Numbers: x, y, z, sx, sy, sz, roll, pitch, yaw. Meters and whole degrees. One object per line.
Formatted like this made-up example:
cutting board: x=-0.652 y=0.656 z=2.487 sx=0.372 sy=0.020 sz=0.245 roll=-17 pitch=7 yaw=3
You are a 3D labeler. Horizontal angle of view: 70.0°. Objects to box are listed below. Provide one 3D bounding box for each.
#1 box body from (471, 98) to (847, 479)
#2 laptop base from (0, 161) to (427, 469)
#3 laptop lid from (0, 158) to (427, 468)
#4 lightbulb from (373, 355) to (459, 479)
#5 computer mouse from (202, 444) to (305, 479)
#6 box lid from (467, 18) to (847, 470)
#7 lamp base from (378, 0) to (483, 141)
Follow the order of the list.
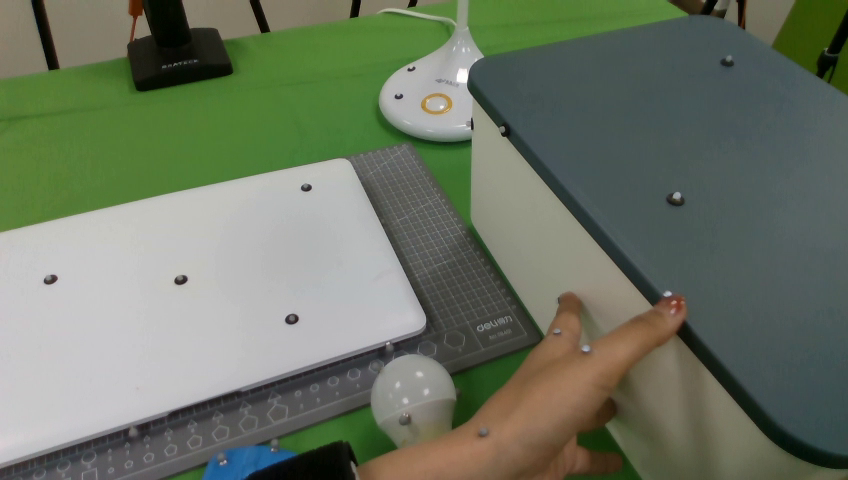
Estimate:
box body: x=0.214 y=0.006 z=0.466 sx=0.255 sy=0.162 sz=0.359 roll=-16 pitch=47 yaw=-17
laptop base: x=-0.200 y=0.044 z=0.518 sx=0.355 sy=0.023 sz=0.233 roll=-15 pitch=51 yaw=-16
laptop lid: x=-0.200 y=0.037 z=0.508 sx=0.357 sy=0.013 sz=0.239 roll=-14 pitch=49 yaw=-15
lightbulb: x=0.001 y=0.131 z=0.415 sx=0.059 sy=0.060 sz=0.106 roll=-12 pitch=63 yaw=-13
computer mouse: x=-0.115 y=0.179 z=0.373 sx=0.063 sy=0.041 sz=0.116 roll=1 pitch=41 yaw=2
box lid: x=0.214 y=-0.051 z=0.408 sx=0.264 sy=0.015 sz=0.367 roll=-16 pitch=48 yaw=-17
lamp base: x=0.028 y=-0.233 z=0.687 sx=0.160 sy=0.182 sz=0.178 roll=9 pitch=43 yaw=8
